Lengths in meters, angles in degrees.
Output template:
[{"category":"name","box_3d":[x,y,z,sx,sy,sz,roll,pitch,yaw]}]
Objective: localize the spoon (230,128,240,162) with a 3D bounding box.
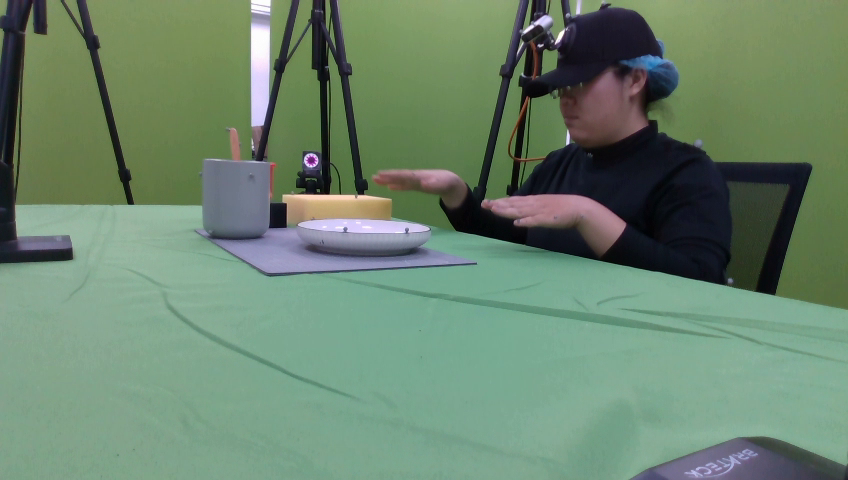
[{"category":"spoon","box_3d":[-0.314,-0.109,1.024,0.042,0.193,0.021,-5,-19,-16]}]

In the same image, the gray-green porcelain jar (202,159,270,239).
[{"category":"gray-green porcelain jar","box_3d":[-0.310,-0.068,0.999,0.106,0.126,0.106,3,8,0]}]

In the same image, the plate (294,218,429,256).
[{"category":"plate","box_3d":[-0.096,-0.005,0.936,0.208,0.039,0.207,3,7,0]}]

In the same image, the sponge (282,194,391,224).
[{"category":"sponge","box_3d":[-0.187,-0.065,1.306,0.208,0.061,0.117,-4,10,-37]}]
